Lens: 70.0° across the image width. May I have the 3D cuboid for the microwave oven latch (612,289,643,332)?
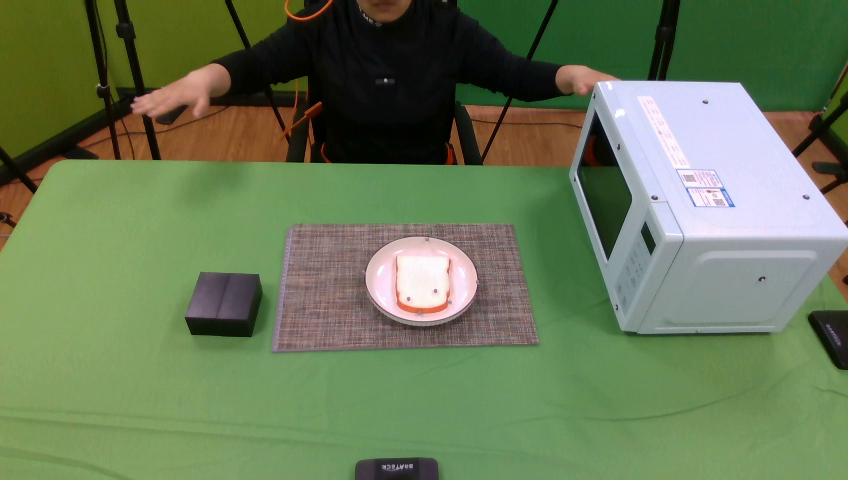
[{"bbox_3d":[0.357,0.124,1.068,0.030,0.029,0.078,0,45,-3],"label":"microwave oven latch"}]

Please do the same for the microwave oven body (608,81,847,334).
[{"bbox_3d":[0.501,-0.070,1.132,0.326,0.261,0.438,-1,45,-4],"label":"microwave oven body"}]

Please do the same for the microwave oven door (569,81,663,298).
[{"bbox_3d":[0.353,-0.103,1.147,0.039,0.245,0.353,0,46,-4],"label":"microwave oven door"}]

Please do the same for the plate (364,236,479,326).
[{"bbox_3d":[-0.004,0.078,1.107,0.209,0.038,0.208,2,46,-2],"label":"plate"}]

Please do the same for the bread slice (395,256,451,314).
[{"bbox_3d":[-0.001,0.079,1.109,0.105,0.019,0.130,1,45,-2],"label":"bread slice"}]
